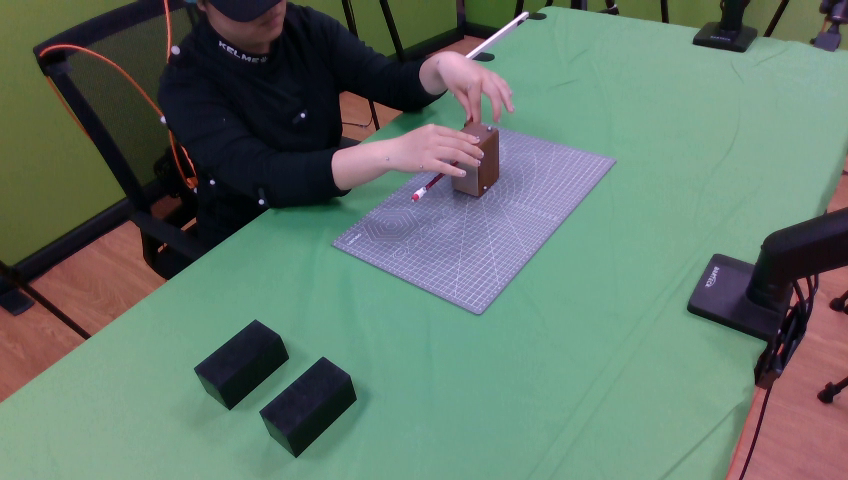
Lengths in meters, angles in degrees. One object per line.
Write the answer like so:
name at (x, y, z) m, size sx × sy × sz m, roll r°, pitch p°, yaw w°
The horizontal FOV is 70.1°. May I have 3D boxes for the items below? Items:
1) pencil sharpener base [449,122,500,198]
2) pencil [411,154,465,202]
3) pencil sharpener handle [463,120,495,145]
pencil sharpener base at (0.090, -0.140, 1.051) m, size 0.061 × 0.107 × 0.077 m, roll 20°, pitch 47°, yaw 29°
pencil at (0.039, -0.116, 0.987) m, size 0.012 × 0.012 × 0.194 m, roll 21°, pitch 47°, yaw 30°
pencil sharpener handle at (0.104, -0.195, 1.071) m, size 0.067 × 0.036 × 0.031 m, roll 22°, pitch 48°, yaw 27°
